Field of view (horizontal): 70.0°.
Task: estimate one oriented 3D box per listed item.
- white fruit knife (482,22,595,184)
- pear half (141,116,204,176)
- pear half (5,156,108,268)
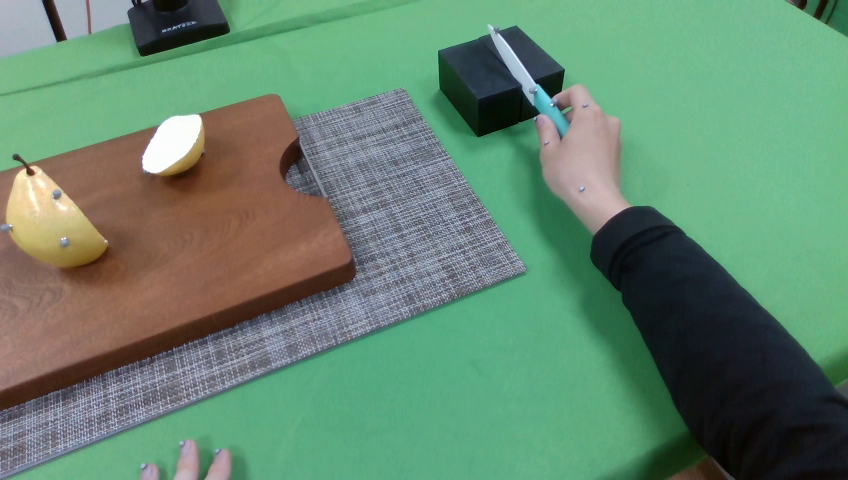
[{"bbox_3d":[0.112,-0.146,0.616,0.016,0.027,0.206,-25,73,-21],"label":"white fruit knife"},{"bbox_3d":[-0.241,-0.089,0.595,0.070,0.031,0.087,-31,39,-1],"label":"pear half"},{"bbox_3d":[-0.313,-0.020,0.493,0.076,0.111,0.056,25,56,27],"label":"pear half"}]
